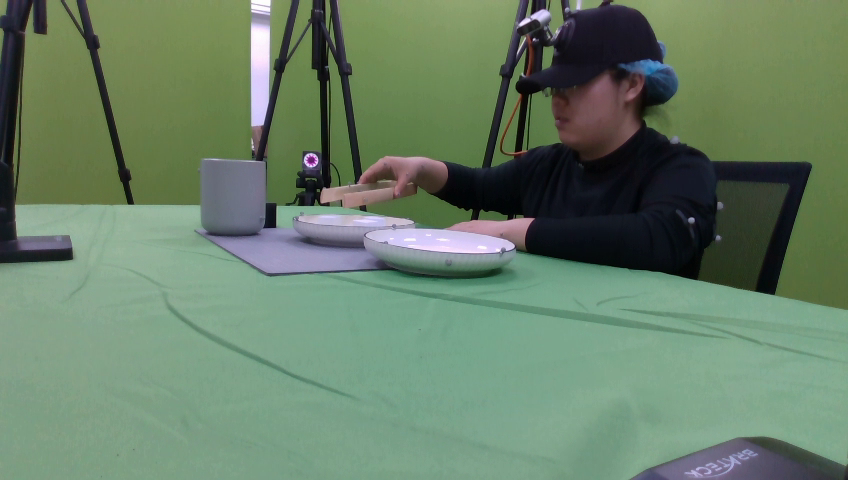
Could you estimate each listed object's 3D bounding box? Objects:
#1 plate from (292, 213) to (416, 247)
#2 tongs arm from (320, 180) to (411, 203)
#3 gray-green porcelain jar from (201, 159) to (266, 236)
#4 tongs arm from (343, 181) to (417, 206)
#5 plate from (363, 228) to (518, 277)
[{"bbox_3d":[-0.118,-0.017,1.024,0.208,0.039,0.207,3,8,0],"label":"plate"},{"bbox_3d":[-0.104,-0.099,1.214,0.050,0.026,0.385,7,10,14],"label":"tongs arm"},{"bbox_3d":[-0.326,-0.073,1.036,0.106,0.126,0.106,3,8,0],"label":"gray-green porcelain jar"},{"bbox_3d":[-0.077,-0.095,1.205,0.028,0.028,0.388,4,9,18],"label":"tongs arm"},{"bbox_3d":[0.022,0.016,0.817,0.209,0.038,0.209,4,9,0],"label":"plate"}]
